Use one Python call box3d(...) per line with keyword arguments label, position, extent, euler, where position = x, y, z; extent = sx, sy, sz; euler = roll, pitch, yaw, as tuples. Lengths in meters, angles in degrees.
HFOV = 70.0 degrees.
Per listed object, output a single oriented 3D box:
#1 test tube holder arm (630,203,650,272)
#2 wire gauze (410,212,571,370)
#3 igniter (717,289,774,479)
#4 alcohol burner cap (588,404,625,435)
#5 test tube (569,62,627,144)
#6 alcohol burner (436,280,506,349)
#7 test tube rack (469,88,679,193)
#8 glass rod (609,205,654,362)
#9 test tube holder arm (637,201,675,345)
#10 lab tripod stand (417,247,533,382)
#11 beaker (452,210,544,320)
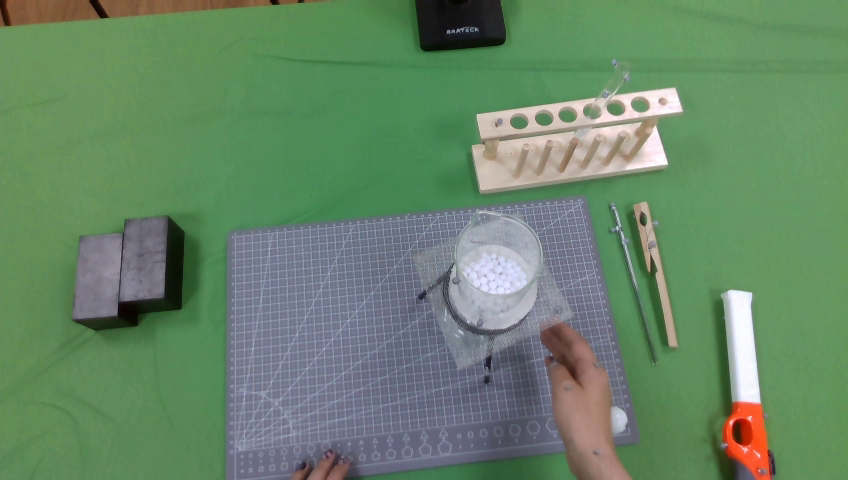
box3d(label="test tube holder arm", position=(0.268, -0.003, 0.744), extent=(0.010, 0.015, 0.087), euler=(-17, 68, 28))
box3d(label="wire gauze", position=(0.063, 0.045, 0.588), extent=(0.121, 0.011, 0.124), euler=(-22, 73, -5))
box3d(label="igniter", position=(0.352, 0.189, 0.669), extent=(0.057, 0.025, 0.274), euler=(8, 70, -8))
box3d(label="alcohol burner cap", position=(0.200, 0.192, 0.655), extent=(0.034, 0.048, 0.033), euler=(0, 69, 0))
box3d(label="test tube", position=(0.200, -0.155, 0.709), extent=(0.017, 0.151, 0.017), euler=(2, 68, -6))
box3d(label="alcohol burner", position=(0.052, 0.076, 0.658), extent=(0.078, 0.120, 0.077), euler=(0, 68, 1))
box3d(label="test tube rack", position=(0.183, -0.121, 0.749), extent=(0.242, 0.086, 0.066), euler=(-8, 70, -3))
box3d(label="glass rod", position=(0.248, 0.049, 0.728), extent=(0.008, 0.008, 0.198), euler=(-7, 70, -3))
box3d(label="test tube holder arm", position=(0.277, 0.038, 0.727), extent=(0.013, 0.015, 0.177), euler=(-17, 68, 28))
box3d(label="lab tripod stand", position=(0.058, 0.071, 0.649), extent=(0.148, 0.132, 0.147), euler=(0, 71, 1))
box3d(label="beaker", position=(0.060, 0.026, 0.544), extent=(0.074, 0.101, 0.083), euler=(-20, 71, -5))
